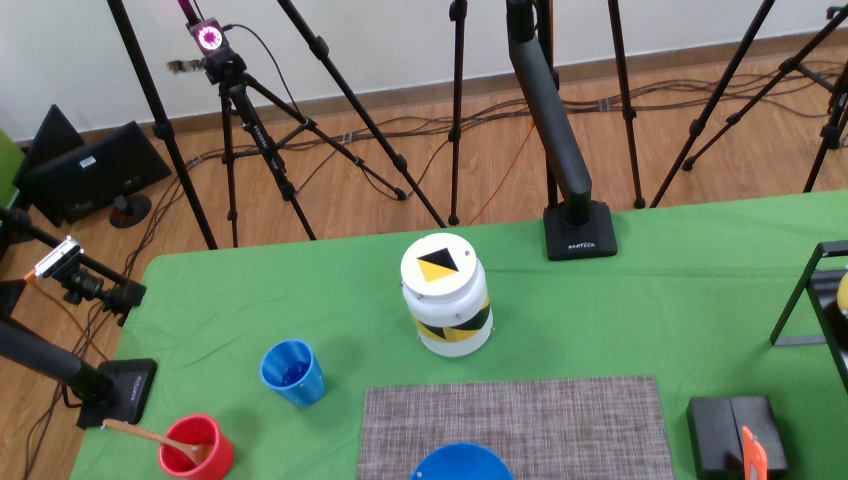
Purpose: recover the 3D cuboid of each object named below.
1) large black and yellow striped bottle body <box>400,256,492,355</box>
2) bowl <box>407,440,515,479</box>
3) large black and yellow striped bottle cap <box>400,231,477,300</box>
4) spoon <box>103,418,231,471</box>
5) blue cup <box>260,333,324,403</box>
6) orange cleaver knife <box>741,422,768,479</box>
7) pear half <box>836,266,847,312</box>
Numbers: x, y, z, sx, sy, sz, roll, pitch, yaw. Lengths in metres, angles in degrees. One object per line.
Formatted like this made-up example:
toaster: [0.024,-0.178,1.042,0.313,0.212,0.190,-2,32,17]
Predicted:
large black and yellow striped bottle body: [0.036,0.086,0.962,0.130,0.186,0.129,-6,52,8]
bowl: [0.054,0.356,0.815,0.151,0.077,0.150,-6,52,9]
large black and yellow striped bottle cap: [0.021,0.036,0.896,0.115,0.019,0.114,-7,53,10]
spoon: [-0.388,0.305,0.921,0.195,0.021,0.041,29,52,-20]
blue cup: [-0.204,0.216,0.971,0.092,0.101,0.092,-5,54,7]
orange cleaver knife: [0.411,0.334,0.740,0.012,0.077,0.211,-7,87,7]
pear half: [0.506,0.046,0.710,0.031,0.089,0.070,26,66,27]
